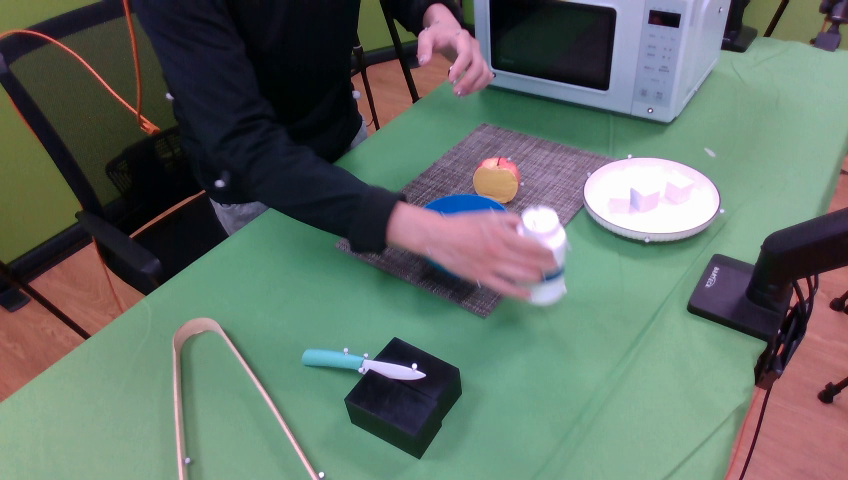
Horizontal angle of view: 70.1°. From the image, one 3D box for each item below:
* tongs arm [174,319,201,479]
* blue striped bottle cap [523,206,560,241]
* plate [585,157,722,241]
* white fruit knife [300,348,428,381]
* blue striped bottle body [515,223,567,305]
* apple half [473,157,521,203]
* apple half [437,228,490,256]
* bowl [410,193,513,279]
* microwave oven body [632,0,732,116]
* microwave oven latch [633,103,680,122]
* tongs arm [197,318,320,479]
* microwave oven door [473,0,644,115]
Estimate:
[{"bbox_3d":[-0.272,0.234,0.723,0.051,0.026,0.381,-18,40,-15],"label":"tongs arm"},{"bbox_3d":[0.142,-0.020,0.728,0.044,0.021,0.044,-6,41,6],"label":"blue striped bottle cap"},{"bbox_3d":[0.367,-0.063,0.979,0.207,0.039,0.206,-4,40,4],"label":"plate"},{"bbox_3d":[-0.080,0.154,0.748,0.206,0.027,0.016,0,19,34],"label":"white fruit knife"},{"bbox_3d":[0.146,0.019,0.760,0.063,0.121,0.063,-5,39,4],"label":"blue striped bottle body"},{"bbox_3d":[0.127,-0.106,1.030,0.080,0.075,0.053,4,37,19],"label":"apple half"},{"bbox_3d":[0.056,0.002,0.901,0.081,0.033,0.081,-3,40,3],"label":"apple half"},{"bbox_3d":[0.058,0.004,0.905,0.151,0.077,0.150,-4,39,3],"label":"bowl"},{"bbox_3d":[0.377,-0.462,1.267,0.438,0.261,0.327,21,49,30],"label":"microwave oven body"},{"bbox_3d":[0.444,-0.249,1.157,0.078,0.029,0.030,21,49,30],"label":"microwave oven latch"},{"bbox_3d":[-0.199,0.208,0.751,0.028,0.028,0.384,-31,45,-22],"label":"tongs arm"},{"bbox_3d":[0.257,-0.396,1.199,0.353,0.245,0.039,21,48,29],"label":"microwave oven door"}]
